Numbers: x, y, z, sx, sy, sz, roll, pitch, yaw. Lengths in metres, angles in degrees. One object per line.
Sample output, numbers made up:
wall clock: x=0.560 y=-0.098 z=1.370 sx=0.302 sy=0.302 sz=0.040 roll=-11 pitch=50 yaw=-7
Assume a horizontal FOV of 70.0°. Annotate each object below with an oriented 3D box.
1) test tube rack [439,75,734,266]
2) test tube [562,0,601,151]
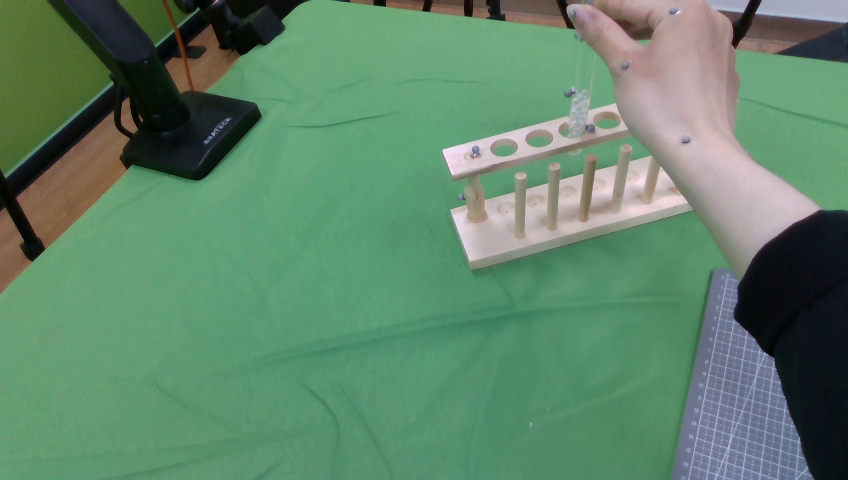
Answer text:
test tube rack: x=0.141 y=-0.059 z=0.516 sx=0.242 sy=0.086 sz=0.066 roll=-15 pitch=49 yaw=-4
test tube: x=0.117 y=-0.125 z=0.456 sx=0.017 sy=0.152 sz=0.017 roll=-3 pitch=50 yaw=4
